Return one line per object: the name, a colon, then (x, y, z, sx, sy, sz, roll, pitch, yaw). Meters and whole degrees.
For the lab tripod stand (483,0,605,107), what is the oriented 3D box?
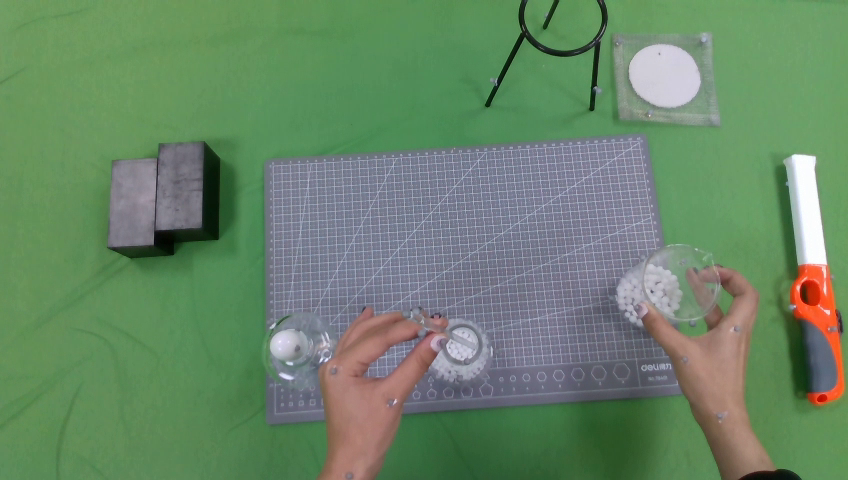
lab tripod stand: (0.136, -0.211, 0.672, 0.148, 0.132, 0.147, 0, 79, 1)

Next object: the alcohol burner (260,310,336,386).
alcohol burner: (-0.131, 0.106, 0.607, 0.078, 0.119, 0.077, -1, 76, 3)

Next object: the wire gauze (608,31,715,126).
wire gauze: (0.288, -0.199, 0.732, 0.125, 0.011, 0.121, 2, 77, -1)

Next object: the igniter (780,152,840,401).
igniter: (0.424, 0.036, 0.667, 0.057, 0.025, 0.275, 4, 77, -10)

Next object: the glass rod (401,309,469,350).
glass rod: (0.014, 0.074, 0.485, 0.008, 0.201, 0.008, -4, 73, 15)

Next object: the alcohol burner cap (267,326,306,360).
alcohol burner cap: (-0.131, 0.097, 0.572, 0.034, 0.048, 0.033, 1, 80, -3)

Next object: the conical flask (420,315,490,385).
conical flask: (0.033, 0.106, 0.602, 0.075, 0.122, 0.075, 0, 76, 1)

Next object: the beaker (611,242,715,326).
beaker: (0.240, 0.047, 0.616, 0.084, 0.100, 0.073, -40, 80, -9)
